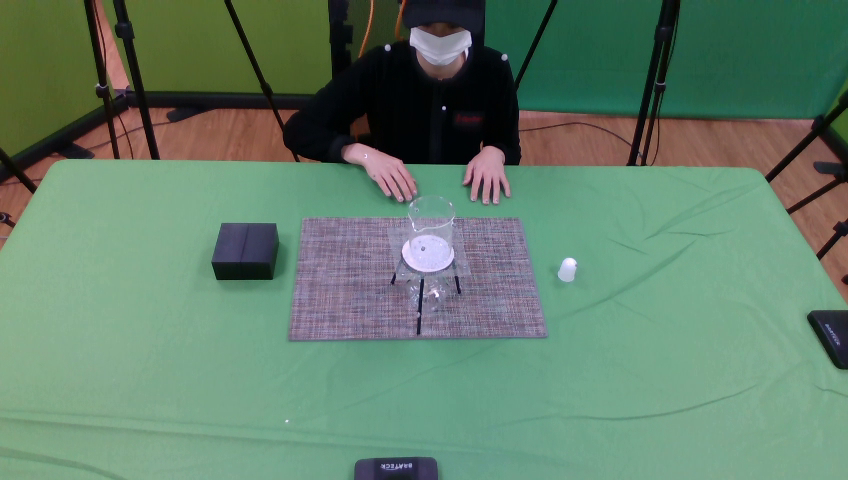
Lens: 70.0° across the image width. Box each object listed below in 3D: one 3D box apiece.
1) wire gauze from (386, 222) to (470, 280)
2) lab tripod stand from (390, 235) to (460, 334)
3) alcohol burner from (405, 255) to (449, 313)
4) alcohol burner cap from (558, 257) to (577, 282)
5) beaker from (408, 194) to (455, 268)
[{"bbox_3d":[0.005,0.018,1.006,0.125,0.011,0.120,-7,45,-5],"label":"wire gauze"},{"bbox_3d":[-0.002,0.067,1.050,0.148,0.132,0.147,1,47,-1],"label":"lab tripod stand"},{"bbox_3d":[0.006,0.071,1.060,0.078,0.120,0.077,1,45,-1],"label":"alcohol burner"},{"bbox_3d":[0.276,0.053,1.154,0.034,0.048,0.033,2,46,-2],"label":"alcohol burner cap"},{"bbox_3d":[0.009,-0.010,0.965,0.074,0.101,0.084,23,50,20],"label":"beaker"}]
